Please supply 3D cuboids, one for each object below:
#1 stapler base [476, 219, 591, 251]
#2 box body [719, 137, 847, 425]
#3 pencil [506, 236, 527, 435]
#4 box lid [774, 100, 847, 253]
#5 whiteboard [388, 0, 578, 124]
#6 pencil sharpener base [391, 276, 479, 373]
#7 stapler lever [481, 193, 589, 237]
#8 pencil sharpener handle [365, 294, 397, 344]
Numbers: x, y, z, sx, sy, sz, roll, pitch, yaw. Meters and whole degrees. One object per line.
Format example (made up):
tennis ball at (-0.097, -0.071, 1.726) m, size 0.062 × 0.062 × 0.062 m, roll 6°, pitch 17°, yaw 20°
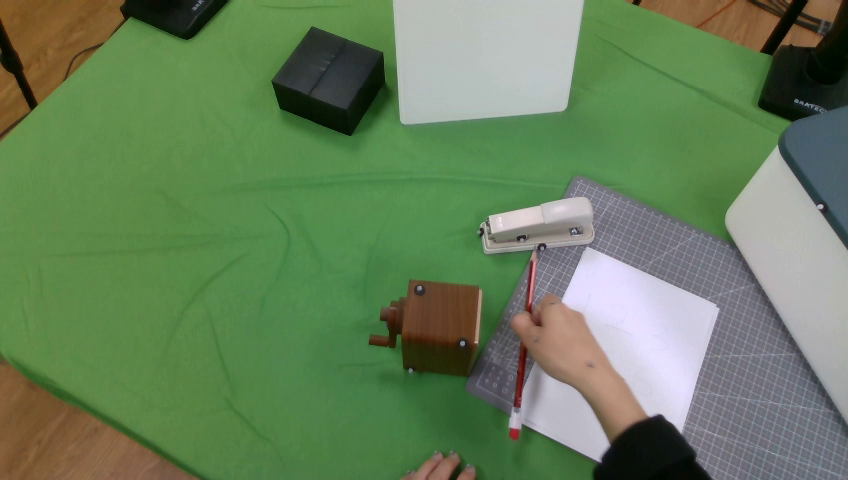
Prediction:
stapler base at (0.126, -0.016, 0.689) m, size 0.130 × 0.024 × 0.041 m, roll -7°, pitch 60°, yaw -1°
box body at (0.505, 0.043, 0.595) m, size 0.254 × 0.161 × 0.360 m, roll -17°, pitch 65°, yaw -10°
pencil at (0.092, 0.091, 0.593) m, size 0.012 × 0.012 × 0.193 m, roll 6°, pitch 79°, yaw 1°
box lid at (0.506, 0.008, 0.530) m, size 0.264 × 0.015 × 0.368 m, roll -17°, pitch 66°, yaw -11°
whiteboard at (0.061, -0.315, 0.716) m, size 0.217 × 0.308 × 0.142 m, roll -5°, pitch 44°, yaw -4°
pencil sharpener base at (0.009, 0.084, 0.590) m, size 0.077 × 0.108 × 0.061 m, roll 6°, pitch 63°, yaw 2°
stapler lever at (0.123, -0.027, 0.667) m, size 0.118 × 0.040 × 0.026 m, roll -6°, pitch 59°, yaw -2°
pencil sharpener handle at (-0.042, 0.077, 0.578) m, size 0.030 × 0.068 × 0.035 m, roll 6°, pitch 46°, yaw 2°
